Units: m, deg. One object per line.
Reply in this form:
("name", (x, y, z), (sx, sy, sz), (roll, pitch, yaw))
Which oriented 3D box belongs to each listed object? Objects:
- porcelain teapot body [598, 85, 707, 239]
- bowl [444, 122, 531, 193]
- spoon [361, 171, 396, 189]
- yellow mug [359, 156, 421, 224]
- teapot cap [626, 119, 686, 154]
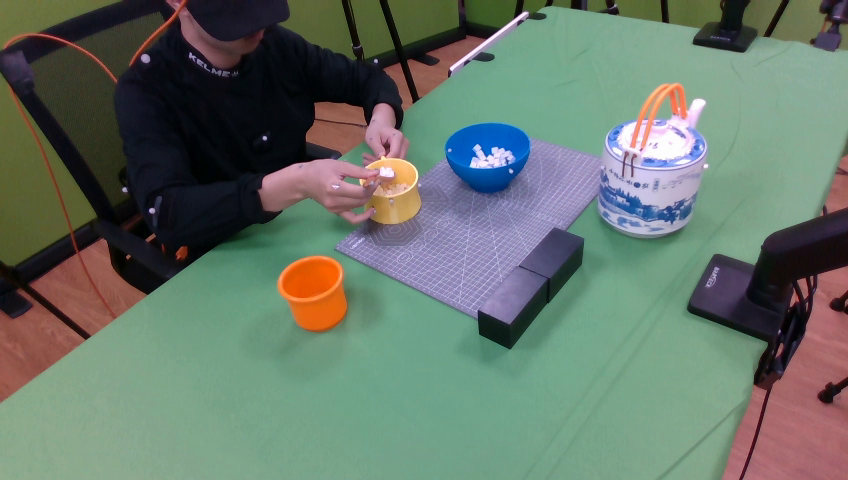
("porcelain teapot body", (0.362, -0.137, 0.921), (0.144, 0.226, 0.206), (29, 51, 36))
("bowl", (0.113, -0.136, 1.063), (0.151, 0.077, 0.150), (-4, 41, 4))
("spoon", (-0.076, -0.095, 0.945), (0.041, 0.021, 0.194), (-10, 6, 9))
("yellow mug", (-0.061, -0.095, 1.040), (0.100, 0.064, 0.130), (-12, 47, -7))
("teapot cap", (0.338, -0.153, 0.882), (0.085, 0.044, 0.085), (-3, 38, 3))
